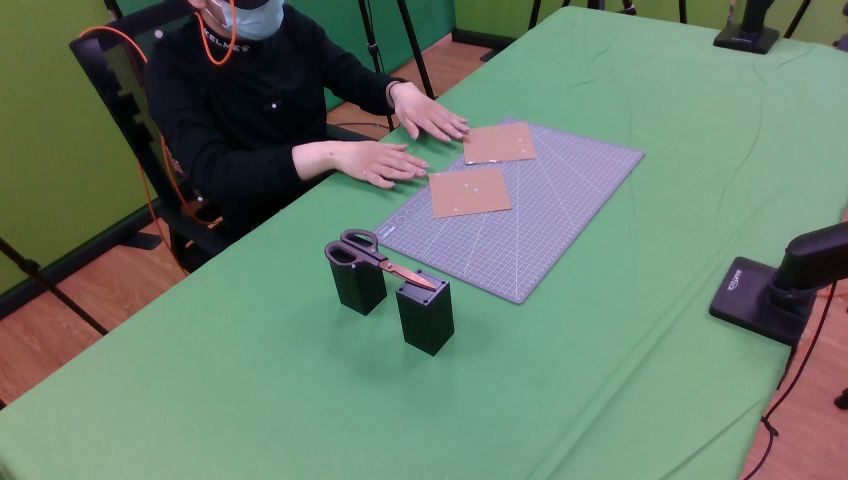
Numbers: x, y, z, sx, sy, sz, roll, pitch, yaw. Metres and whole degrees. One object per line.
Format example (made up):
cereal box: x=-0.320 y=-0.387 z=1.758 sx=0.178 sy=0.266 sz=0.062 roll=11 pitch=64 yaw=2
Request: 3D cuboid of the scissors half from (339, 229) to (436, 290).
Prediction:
scissors half: x=-0.048 y=0.025 z=0.801 sx=0.173 sy=0.013 sz=0.040 roll=31 pitch=52 yaw=33

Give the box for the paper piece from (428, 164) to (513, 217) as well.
paper piece: x=0.078 y=-0.091 z=1.069 sx=0.135 sy=0.004 sz=0.135 roll=-6 pitch=41 yaw=0

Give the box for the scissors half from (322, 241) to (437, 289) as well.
scissors half: x=-0.060 y=0.035 z=0.788 sx=0.174 sy=0.013 sz=0.040 roll=16 pitch=40 yaw=21

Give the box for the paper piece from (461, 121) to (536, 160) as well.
paper piece: x=0.143 y=-0.194 z=1.181 sx=0.136 sy=0.009 sz=0.137 roll=-1 pitch=39 yaw=1
